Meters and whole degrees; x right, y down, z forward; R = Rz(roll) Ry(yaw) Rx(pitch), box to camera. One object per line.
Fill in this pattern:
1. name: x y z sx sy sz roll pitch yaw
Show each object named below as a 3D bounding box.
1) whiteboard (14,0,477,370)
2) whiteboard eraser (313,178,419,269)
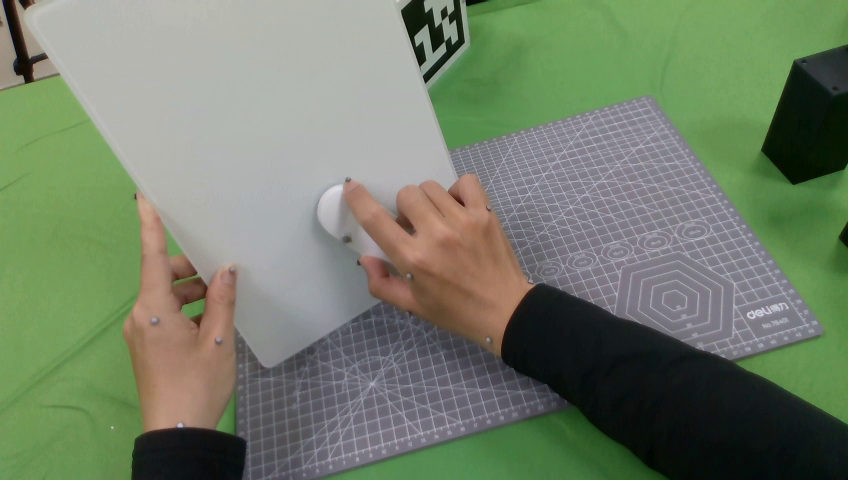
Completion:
1. whiteboard: -0.119 -0.091 0.497 0.217 0.308 0.142 -31 34 -12
2. whiteboard eraser: -0.044 -0.012 0.482 0.041 0.102 0.018 -54 35 -2
